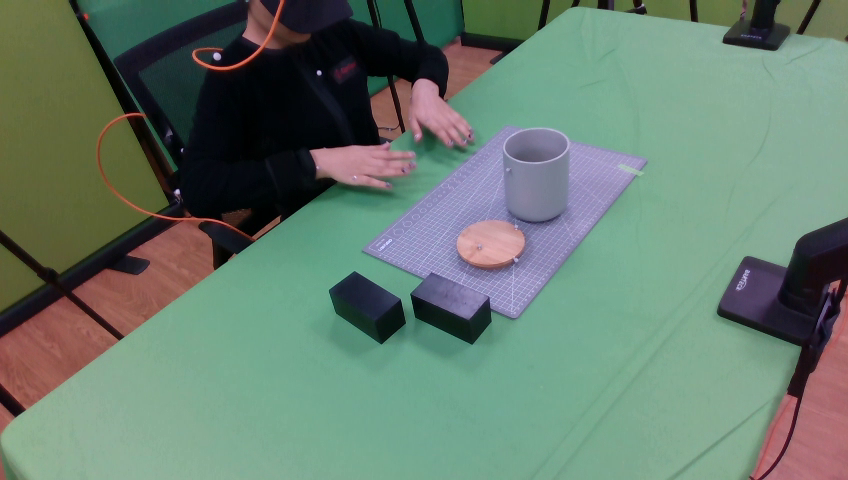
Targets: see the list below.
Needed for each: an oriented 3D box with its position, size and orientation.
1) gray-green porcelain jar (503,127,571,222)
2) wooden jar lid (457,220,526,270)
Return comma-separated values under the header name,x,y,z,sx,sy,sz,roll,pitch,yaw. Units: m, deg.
name,x,y,z,sx,sy,sz,roll,pitch,yaw
gray-green porcelain jar,0.184,-0.102,0.983,0.106,0.127,0.105,-5,40,5
wooden jar lid,0.106,0.009,0.950,0.108,0.021,0.108,-4,40,4
